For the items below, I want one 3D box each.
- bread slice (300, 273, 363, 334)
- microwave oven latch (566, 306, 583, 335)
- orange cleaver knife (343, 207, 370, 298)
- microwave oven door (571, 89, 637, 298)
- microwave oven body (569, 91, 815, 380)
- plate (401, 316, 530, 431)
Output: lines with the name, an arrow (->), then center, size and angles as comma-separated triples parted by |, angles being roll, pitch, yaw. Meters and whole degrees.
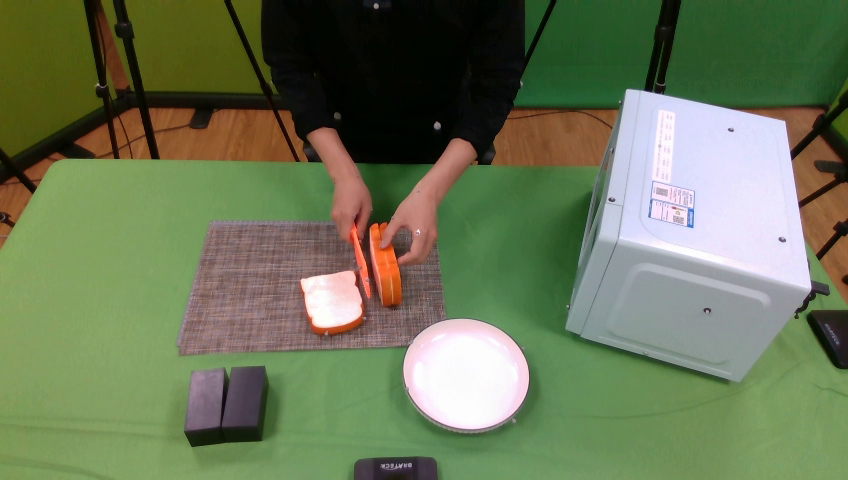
bread slice -> -0.164, 0.113, 1.076 | 0.107, 0.018, 0.133 | -11, 39, -7
microwave oven latch -> 0.268, 0.126, 1.059 | 0.030, 0.029, 0.079 | 16, 46, 13
orange cleaver knife -> -0.123, 0.019, 1.098 | 0.012, 0.077, 0.210 | -11, 40, -11
microwave oven door -> 0.343, -0.091, 1.133 | 0.039, 0.245, 0.354 | 15, 47, 10
microwave oven body -> 0.468, -0.022, 1.082 | 0.325, 0.261, 0.440 | 15, 46, 11
plate -> 0.066, 0.217, 0.982 | 0.208, 0.039, 0.206 | 2, 46, -2
